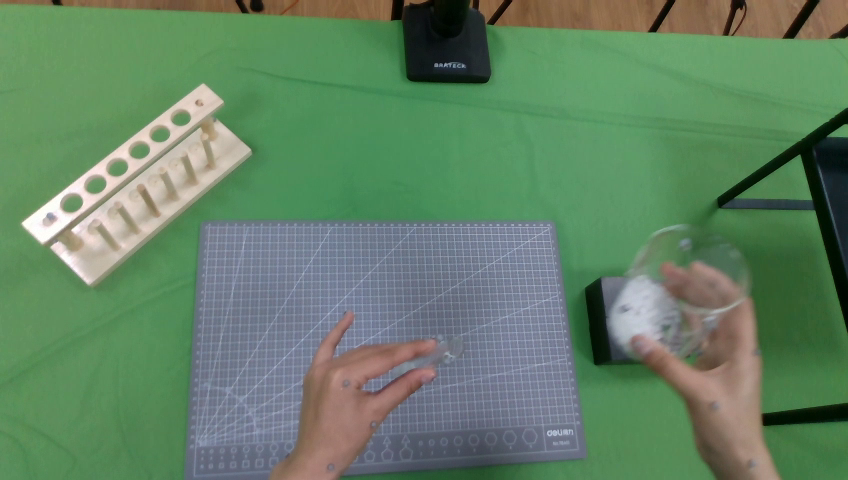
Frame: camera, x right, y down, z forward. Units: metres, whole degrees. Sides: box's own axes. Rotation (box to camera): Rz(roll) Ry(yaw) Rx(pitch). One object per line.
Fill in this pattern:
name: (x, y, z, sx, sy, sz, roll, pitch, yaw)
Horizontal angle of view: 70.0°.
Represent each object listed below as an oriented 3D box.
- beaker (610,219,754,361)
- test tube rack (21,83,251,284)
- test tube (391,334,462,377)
beaker: (0.188, 0.044, 0.466, 0.084, 0.101, 0.073, 0, 55, -3)
test tube rack: (-0.317, -0.066, 0.695, 0.066, 0.085, 0.242, 41, 70, 7)
test tube: (-0.002, 0.103, 0.529, 0.017, 0.150, 0.017, 7, 69, -18)
